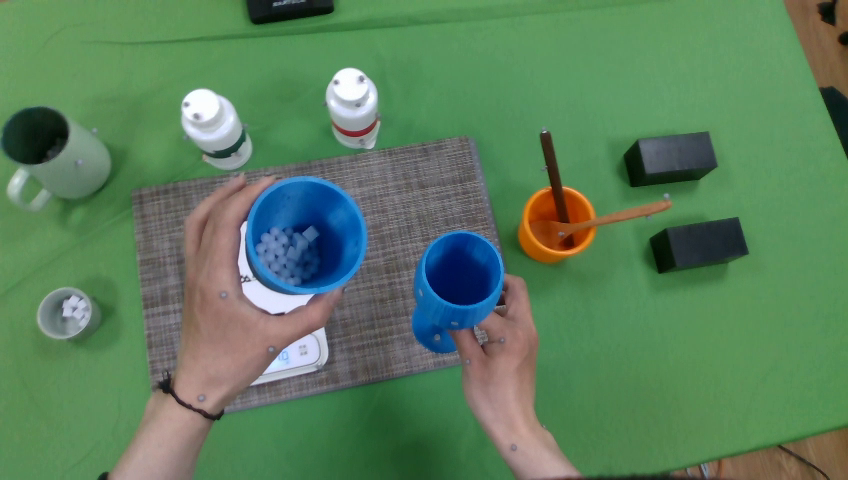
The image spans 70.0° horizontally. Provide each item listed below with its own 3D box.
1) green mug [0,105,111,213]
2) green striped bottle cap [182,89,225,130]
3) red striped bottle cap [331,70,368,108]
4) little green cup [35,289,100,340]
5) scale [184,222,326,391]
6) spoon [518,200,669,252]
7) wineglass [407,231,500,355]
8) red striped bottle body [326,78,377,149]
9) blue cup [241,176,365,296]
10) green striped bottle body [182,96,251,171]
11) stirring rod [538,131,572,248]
[{"bbox_3d":[-0.455,-0.091,0.736,0.092,0.105,0.125,24,75,2],"label":"green mug"},{"bbox_3d":[-0.255,-0.151,0.700,0.044,0.020,0.044,1,75,-2],"label":"green striped bottle cap"},{"bbox_3d":[-0.089,-0.181,0.723,0.044,0.018,0.044,1,72,-3],"label":"red striped bottle cap"},{"bbox_3d":[-0.423,0.091,0.725,0.061,0.039,0.061,1,75,-5],"label":"little green cup"},{"bbox_3d":[-0.209,0.074,0.746,0.149,0.031,0.200,-11,77,-7],"label":"scale"},{"bbox_3d":[0.203,-0.019,0.743,0.022,0.193,0.041,-4,82,-50],"label":"spoon"},{"bbox_3d":[0.020,0.053,0.529,0.074,0.173,0.073,1,69,-4],"label":"wineglass"},{"bbox_3d":[-0.092,-0.167,0.775,0.063,0.120,0.062,1,75,-4],"label":"red striped bottle body"},{"bbox_3d":[-0.101,0.006,0.466,0.093,0.100,0.092,5,78,-23],"label":"blue cup"},{"bbox_3d":[-0.259,-0.136,0.754,0.063,0.119,0.063,1,75,-4],"label":"green striped bottle body"},{"bbox_3d":[0.163,-0.057,0.748,0.014,0.178,0.006,-2,40,25],"label":"stirring rod"}]
